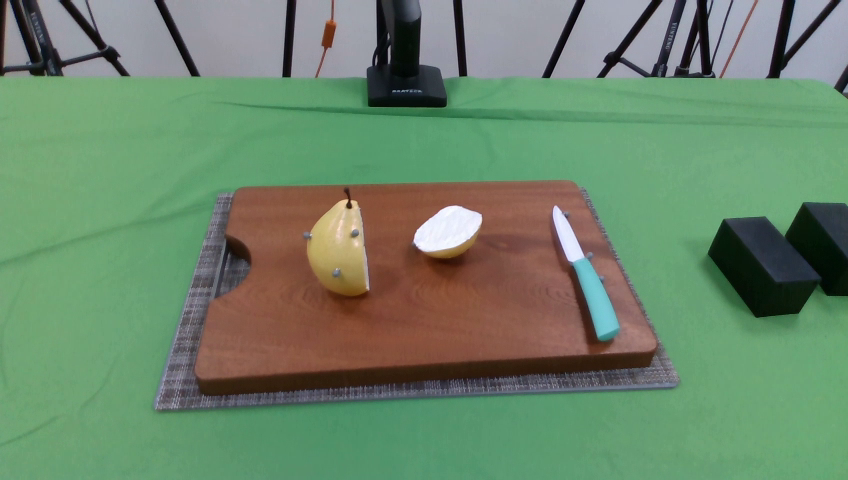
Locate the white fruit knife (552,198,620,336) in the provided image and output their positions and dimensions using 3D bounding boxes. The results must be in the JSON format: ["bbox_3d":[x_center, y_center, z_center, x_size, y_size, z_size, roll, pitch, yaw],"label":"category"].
[{"bbox_3d":[0.157,0.017,0.607,0.027,0.016,0.205,11,38,-14],"label":"white fruit knife"}]

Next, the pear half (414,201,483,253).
[{"bbox_3d":[0.027,-0.009,0.614,0.070,0.031,0.087,-6,26,12],"label":"pear half"}]

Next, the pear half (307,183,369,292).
[{"bbox_3d":[-0.078,-0.005,0.545,0.056,0.111,0.075,-7,39,-11],"label":"pear half"}]
